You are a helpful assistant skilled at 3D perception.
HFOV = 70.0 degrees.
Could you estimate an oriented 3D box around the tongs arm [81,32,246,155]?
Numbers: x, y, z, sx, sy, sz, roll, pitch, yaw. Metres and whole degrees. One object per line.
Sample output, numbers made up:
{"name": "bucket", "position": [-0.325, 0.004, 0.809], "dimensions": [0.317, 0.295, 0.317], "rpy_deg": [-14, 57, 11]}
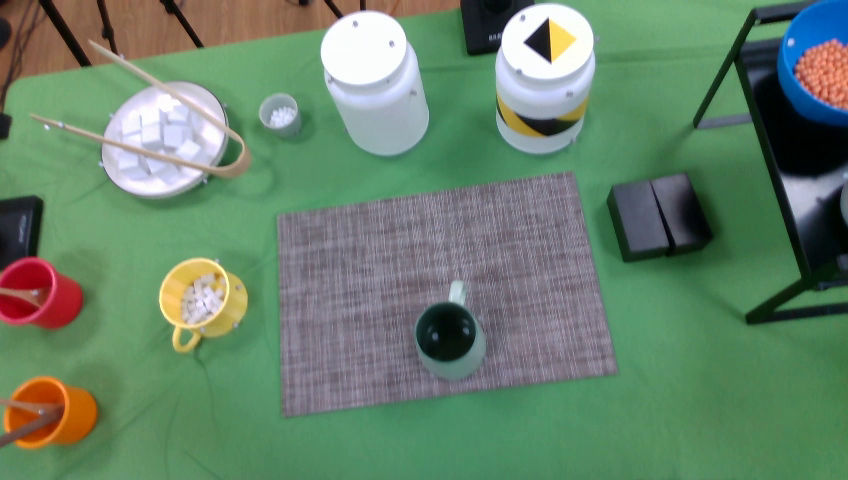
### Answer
{"name": "tongs arm", "position": [-0.416, -0.240, 0.957], "dimensions": [0.385, 0.028, 0.028], "rpy_deg": [33, 71, 18]}

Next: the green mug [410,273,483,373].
{"name": "green mug", "position": [0.031, 0.104, 0.782], "dimensions": [0.092, 0.106, 0.124], "rpy_deg": [8, 72, 10]}

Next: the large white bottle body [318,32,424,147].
{"name": "large white bottle body", "position": [-0.074, -0.231, 0.869], "dimensions": [0.130, 0.186, 0.129], "rpy_deg": [-2, 71, 7]}

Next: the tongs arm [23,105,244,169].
{"name": "tongs arm", "position": [-0.455, -0.170, 0.936], "dimensions": [0.383, 0.027, 0.050], "rpy_deg": [19, 71, 14]}

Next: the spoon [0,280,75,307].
{"name": "spoon", "position": [-0.602, 0.064, 0.851], "dimensions": [0.195, 0.021, 0.041], "rpy_deg": [15, 65, -35]}

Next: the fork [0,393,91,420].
{"name": "fork", "position": [-0.549, 0.206, 0.792], "dimensions": [0.209, 0.018, 0.028], "rpy_deg": [24, 65, -32]}

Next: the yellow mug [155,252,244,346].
{"name": "yellow mug", "position": [-0.321, 0.087, 0.852], "dimensions": [0.099, 0.064, 0.130], "rpy_deg": [16, 75, 11]}

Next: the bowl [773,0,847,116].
{"name": "bowl", "position": [0.451, -0.192, 0.662], "dimensions": [0.151, 0.077, 0.150], "rpy_deg": [-2, 72, 5]}

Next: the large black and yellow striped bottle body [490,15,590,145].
{"name": "large black and yellow striped bottle body", "position": [0.159, -0.230, 0.843], "dimensions": [0.130, 0.185, 0.130], "rpy_deg": [-2, 71, 6]}

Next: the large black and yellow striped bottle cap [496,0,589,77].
{"name": "large black and yellow striped bottle cap", "position": [0.148, -0.259, 0.765], "dimensions": [0.115, 0.019, 0.114], "rpy_deg": [-2, 71, 5]}

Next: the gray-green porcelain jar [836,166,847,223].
{"name": "gray-green porcelain jar", "position": [0.480, -0.059, 0.588], "dimensions": [0.106, 0.127, 0.105], "rpy_deg": [-2, 70, 6]}

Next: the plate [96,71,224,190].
{"name": "plate", "position": [-0.415, -0.172, 0.966], "dimensions": [0.207, 0.039, 0.206], "rpy_deg": [-2, 71, 6]}

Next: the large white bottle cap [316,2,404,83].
{"name": "large white bottle cap", "position": [-0.084, -0.258, 0.789], "dimensions": [0.115, 0.018, 0.114], "rpy_deg": [-2, 72, 6]}

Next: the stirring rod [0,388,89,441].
{"name": "stirring rod", "position": [-0.523, 0.239, 0.784], "dimensions": [0.014, 0.006, 0.176], "rpy_deg": [42, 38, 16]}

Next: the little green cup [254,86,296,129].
{"name": "little green cup", "position": [-0.232, -0.207, 0.956], "dimensions": [0.061, 0.039, 0.061], "rpy_deg": [-2, 72, 5]}
